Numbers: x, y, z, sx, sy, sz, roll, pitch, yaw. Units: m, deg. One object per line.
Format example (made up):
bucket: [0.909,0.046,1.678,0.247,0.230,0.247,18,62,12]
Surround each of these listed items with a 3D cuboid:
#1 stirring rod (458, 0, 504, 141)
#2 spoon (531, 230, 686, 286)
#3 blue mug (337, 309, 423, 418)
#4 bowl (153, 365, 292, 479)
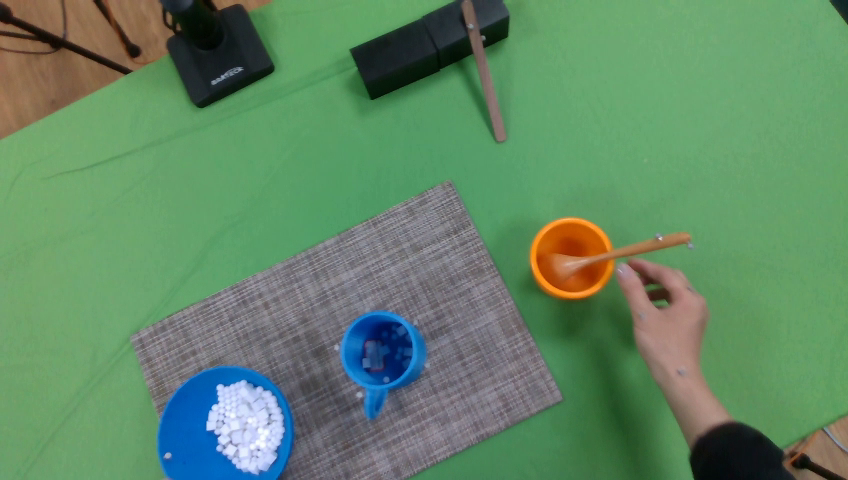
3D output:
stirring rod: [0.072,-0.212,0.761,0.014,0.006,0.176,-17,99,-4]
spoon: [0.192,0.015,0.660,0.193,0.022,0.041,-20,79,42]
blue mug: [-0.050,0.140,0.677,0.082,0.106,0.116,11,79,7]
bowl: [-0.215,0.218,0.689,0.151,0.077,0.150,-1,78,5]
